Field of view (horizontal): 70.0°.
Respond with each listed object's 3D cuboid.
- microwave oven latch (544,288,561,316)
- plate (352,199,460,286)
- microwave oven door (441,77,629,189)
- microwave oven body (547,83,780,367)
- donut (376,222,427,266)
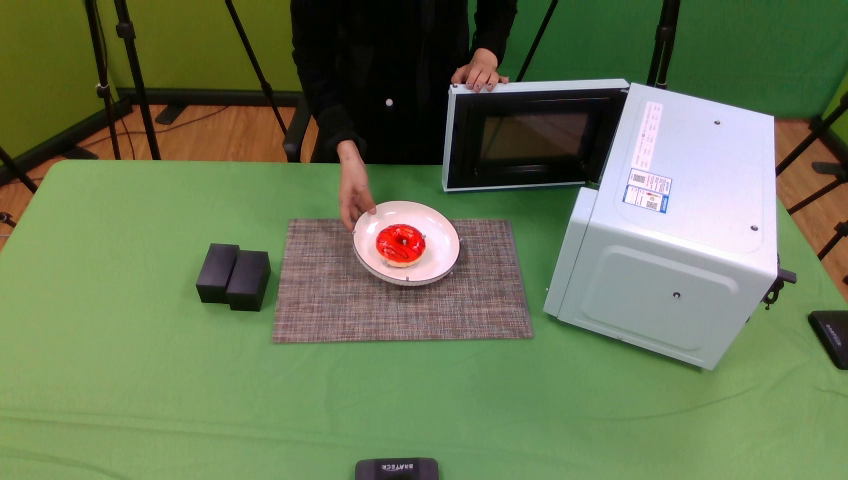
[{"bbox_3d":[0.237,0.098,1.087,0.030,0.029,0.079,17,47,13],"label":"microwave oven latch"},{"bbox_3d":[-0.036,0.007,1.161,0.209,0.038,0.208,6,49,-7],"label":"plate"},{"bbox_3d":[0.220,-0.216,1.244,0.356,0.245,0.039,-4,47,-8],"label":"microwave oven door"},{"bbox_3d":[0.445,-0.041,1.101,0.325,0.261,0.440,17,47,13],"label":"microwave oven body"},{"bbox_3d":[-0.043,0.007,1.145,0.099,0.048,0.098,5,47,-5],"label":"donut"}]
